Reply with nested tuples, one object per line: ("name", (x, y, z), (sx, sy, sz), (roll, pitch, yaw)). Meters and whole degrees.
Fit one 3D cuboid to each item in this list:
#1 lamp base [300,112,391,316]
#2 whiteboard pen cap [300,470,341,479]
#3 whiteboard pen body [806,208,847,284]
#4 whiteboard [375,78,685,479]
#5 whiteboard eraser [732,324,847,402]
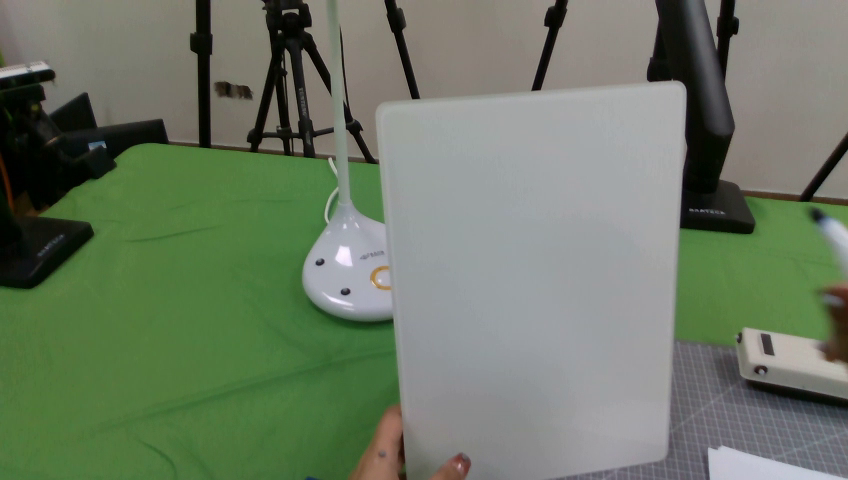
("lamp base", (-0.068, -0.036, 0.657), (0.161, 0.182, 0.177), (-23, 39, -30))
("whiteboard pen cap", (-0.079, 0.191, 0.474), (0.033, 0.018, 0.018), (7, 36, 12))
("whiteboard pen body", (0.173, 0.043, 0.191), (0.017, 0.017, 0.139), (-20, 65, -26))
("whiteboard", (0.075, 0.028, 0.507), (0.217, 0.307, 0.143), (-6, 16, -7))
("whiteboard eraser", (0.349, 0.115, 0.560), (0.112, 0.042, 0.055), (10, 37, 14))
